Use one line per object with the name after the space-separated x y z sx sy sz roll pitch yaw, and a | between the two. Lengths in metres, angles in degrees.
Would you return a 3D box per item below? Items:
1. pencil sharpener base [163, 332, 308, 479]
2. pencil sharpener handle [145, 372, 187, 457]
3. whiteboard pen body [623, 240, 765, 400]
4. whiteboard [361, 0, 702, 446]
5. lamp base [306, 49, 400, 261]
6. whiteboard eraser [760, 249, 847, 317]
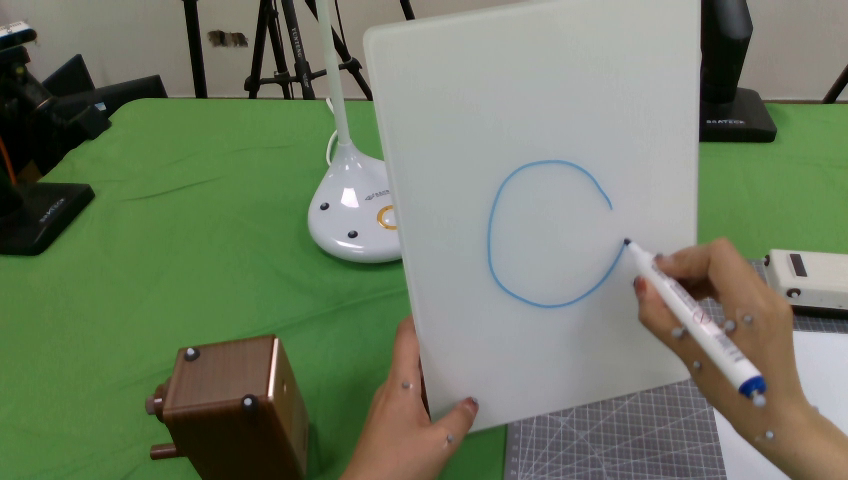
-0.132 0.126 0.436 0.077 0.108 0.060 -8 41 -2 | pencil sharpener base
-0.184 0.125 0.423 0.030 0.068 0.035 -8 28 -2 | pencil sharpener handle
0.162 0.042 0.382 0.017 0.017 0.139 -14 41 -9 | whiteboard pen body
0.080 -0.027 0.483 0.217 0.307 0.142 -11 22 -5 | whiteboard
-0.065 -0.097 0.631 0.161 0.182 0.177 -30 44 -26 | lamp base
0.360 0.039 0.529 0.112 0.042 0.055 5 43 12 | whiteboard eraser
